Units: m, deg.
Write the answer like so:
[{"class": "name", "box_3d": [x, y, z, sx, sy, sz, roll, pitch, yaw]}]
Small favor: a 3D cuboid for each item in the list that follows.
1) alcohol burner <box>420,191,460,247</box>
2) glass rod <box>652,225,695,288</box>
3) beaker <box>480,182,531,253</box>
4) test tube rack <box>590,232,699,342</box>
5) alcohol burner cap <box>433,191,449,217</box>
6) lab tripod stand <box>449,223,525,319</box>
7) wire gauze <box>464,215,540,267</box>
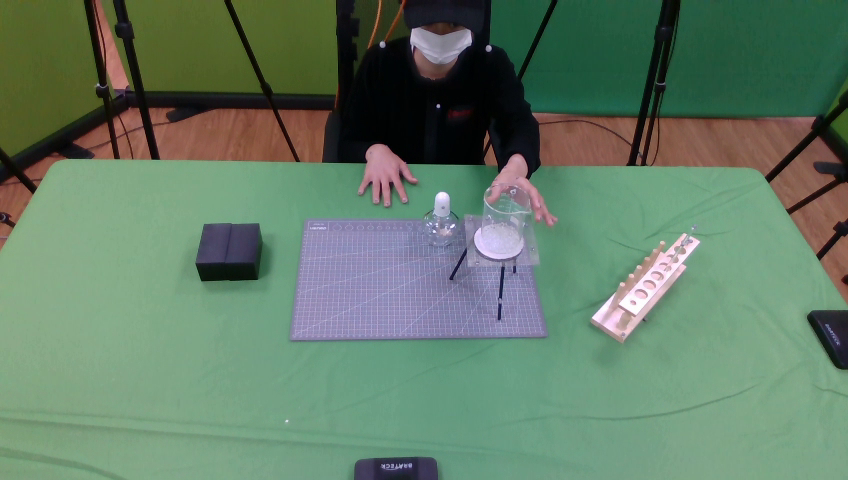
[{"class": "alcohol burner", "box_3d": [0.032, -0.046, 1.176, 0.078, 0.120, 0.077, 1, 44, -1]}, {"class": "glass rod", "box_3d": [0.432, 0.037, 1.057, 0.008, 0.200, 0.008, 1, 54, -1]}, {"class": "beaker", "box_3d": [0.133, -0.033, 0.998, 0.083, 0.101, 0.074, 26, 51, 22]}, {"class": "test tube rack", "box_3d": [0.407, 0.074, 1.112, 0.066, 0.085, 0.242, 35, 53, 26]}, {"class": "alcohol burner cap", "box_3d": [0.032, -0.070, 1.150, 0.034, 0.048, 0.033, 0, 45, 0]}, {"class": "lab tripod stand", "box_3d": [0.120, 0.046, 1.080, 0.148, 0.132, 0.147, 1, 47, -1]}, {"class": "wire gauze", "box_3d": [0.131, -0.001, 1.035, 0.121, 0.011, 0.124, 1, 44, -2]}]
